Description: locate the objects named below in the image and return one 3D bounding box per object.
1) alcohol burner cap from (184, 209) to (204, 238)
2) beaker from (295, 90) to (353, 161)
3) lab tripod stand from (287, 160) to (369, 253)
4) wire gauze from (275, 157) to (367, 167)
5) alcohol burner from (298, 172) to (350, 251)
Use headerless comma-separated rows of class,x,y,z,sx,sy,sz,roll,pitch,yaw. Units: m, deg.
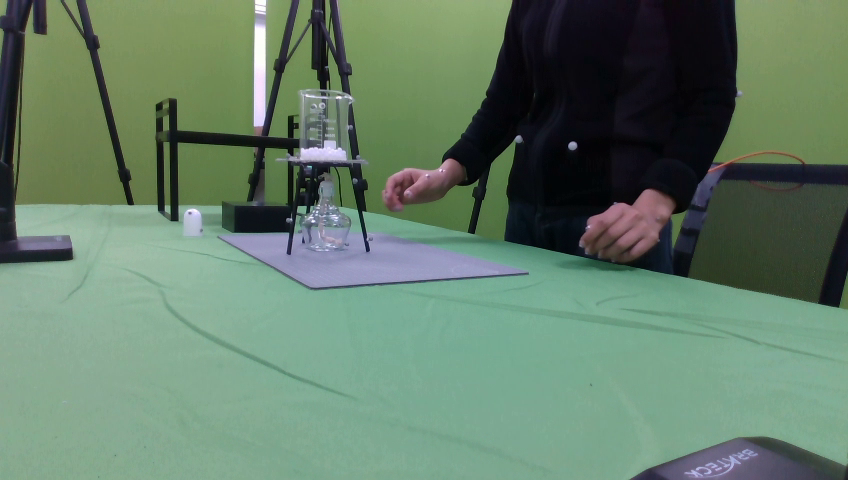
alcohol burner cap,-0.390,-0.029,1.025,0.034,0.048,0.034,2,8,0
beaker,-0.146,-0.164,0.884,0.084,0.100,0.074,1,7,-6
lab tripod stand,-0.157,-0.053,0.902,0.148,0.131,0.148,0,7,0
wire gauze,-0.148,-0.117,0.895,0.121,0.011,0.125,3,5,-3
alcohol burner,-0.149,-0.043,0.911,0.078,0.119,0.078,3,5,0
